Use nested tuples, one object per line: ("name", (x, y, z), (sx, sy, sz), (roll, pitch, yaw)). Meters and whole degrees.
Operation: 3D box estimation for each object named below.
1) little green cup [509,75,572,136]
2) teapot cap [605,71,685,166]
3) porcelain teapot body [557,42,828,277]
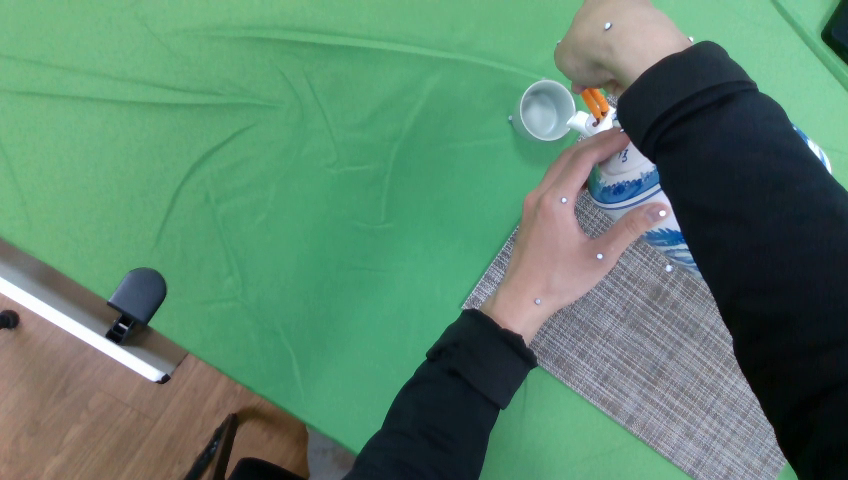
("little green cup", (0.119, -0.138, 0.635), (0.062, 0.038, 0.061), (0, 91, -13))
("teapot cap", (0.171, -0.098, 0.482), (0.044, 0.085, 0.085), (31, 85, -14))
("porcelain teapot body", (0.195, -0.081, 0.523), (0.227, 0.204, 0.145), (31, 92, -18))
